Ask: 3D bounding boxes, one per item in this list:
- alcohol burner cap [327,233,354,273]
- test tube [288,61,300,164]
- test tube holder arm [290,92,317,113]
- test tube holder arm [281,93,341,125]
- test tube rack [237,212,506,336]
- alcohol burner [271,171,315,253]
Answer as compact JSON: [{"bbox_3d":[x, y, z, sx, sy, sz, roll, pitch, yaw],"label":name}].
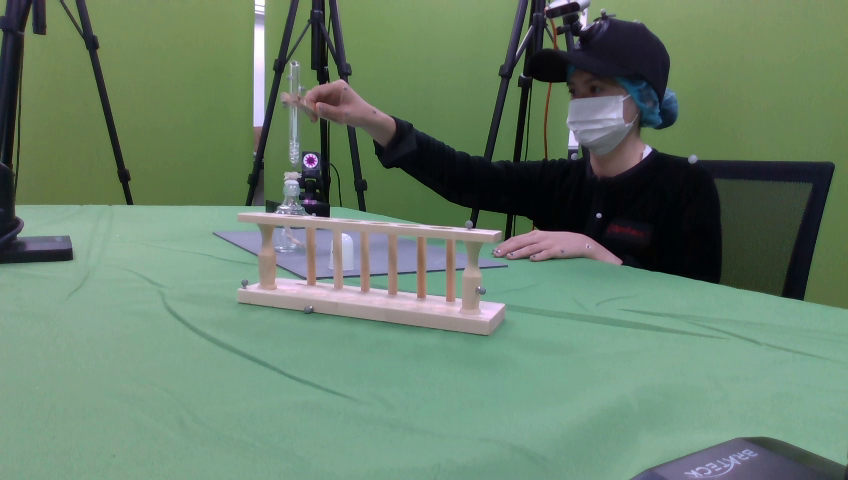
[{"bbox_3d":[-0.104,0.016,0.751,0.034,0.048,0.034,3,6,0],"label":"alcohol burner cap"},{"bbox_3d":[-0.189,-0.186,0.882,0.017,0.150,0.017,0,-4,0],"label":"test tube"},{"bbox_3d":[-0.179,-0.204,0.905,0.010,0.015,0.088,1,0,10],"label":"test tube holder arm"},{"bbox_3d":[-0.174,-0.204,0.950,0.013,0.015,0.179,2,0,17],"label":"test tube holder arm"},{"bbox_3d":[-0.049,0.024,0.552,0.242,0.085,0.067,5,8,18],"label":"test tube rack"},{"bbox_3d":[-0.196,-0.041,0.884,0.078,0.119,0.078,3,5,0],"label":"alcohol burner"}]
